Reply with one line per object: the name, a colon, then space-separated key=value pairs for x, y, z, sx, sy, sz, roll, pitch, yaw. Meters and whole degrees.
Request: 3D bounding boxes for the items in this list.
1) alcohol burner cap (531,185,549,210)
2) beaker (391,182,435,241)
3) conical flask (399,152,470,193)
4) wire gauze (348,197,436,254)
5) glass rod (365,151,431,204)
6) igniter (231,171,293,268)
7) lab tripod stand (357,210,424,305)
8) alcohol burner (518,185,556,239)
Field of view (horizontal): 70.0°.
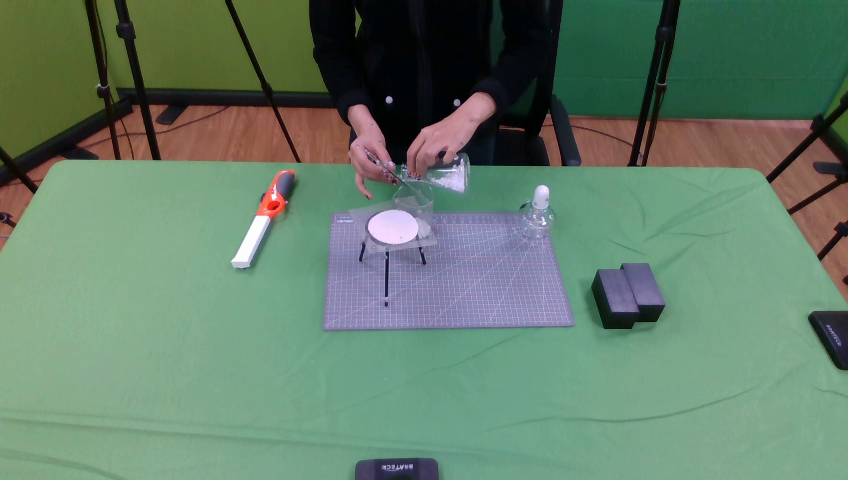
alcohol burner cap: x=0.228 y=-0.085 z=1.183 sx=0.034 sy=0.048 sz=0.033 roll=-1 pitch=47 yaw=1
beaker: x=-0.023 y=-0.053 z=1.192 sx=0.084 sy=0.101 sz=0.073 roll=-2 pitch=46 yaw=-6
conical flask: x=0.019 y=-0.123 z=1.097 sx=0.122 sy=0.076 sz=0.075 roll=2 pitch=45 yaw=13
wire gauze: x=-0.056 y=-0.026 z=1.045 sx=0.125 sy=0.011 sz=0.120 roll=-12 pitch=47 yaw=-17
glass rod: x=-0.043 y=-0.112 z=1.116 sx=0.008 sy=0.201 sz=0.008 roll=-18 pitch=57 yaw=30
igniter: x=-0.321 y=-0.051 z=1.220 sx=0.057 sy=0.025 sz=0.275 roll=1 pitch=45 yaw=11
lab tripod stand: x=-0.060 y=0.020 z=1.094 sx=0.148 sy=0.132 sz=0.147 roll=3 pitch=44 yaw=-2
alcohol burner: x=0.227 y=-0.061 z=1.209 sx=0.078 sy=0.120 sz=0.077 roll=1 pitch=44 yaw=-1
